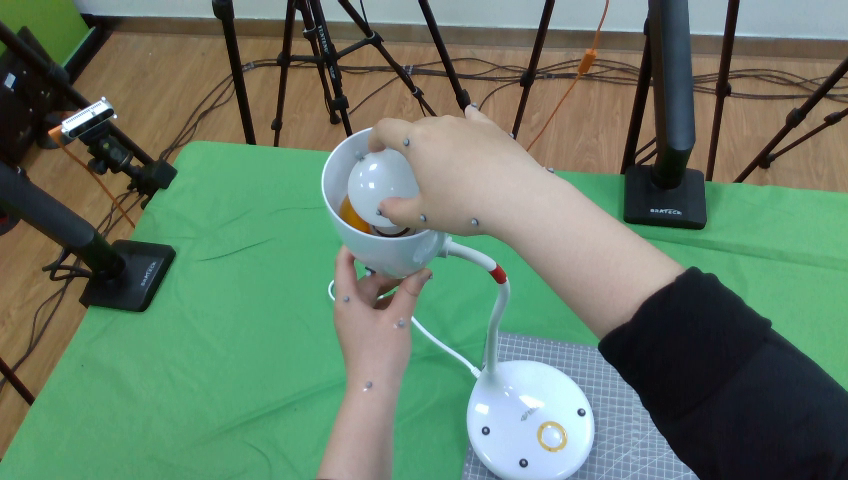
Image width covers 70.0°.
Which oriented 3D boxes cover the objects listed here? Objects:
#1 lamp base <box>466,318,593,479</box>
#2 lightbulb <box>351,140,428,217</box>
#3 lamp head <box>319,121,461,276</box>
[{"bbox_3d":[0.114,0.173,0.716,0.177,0.182,0.160,30,63,28],"label":"lamp base"},{"bbox_3d":[-0.021,-0.044,0.493,0.059,0.108,0.059,-2,82,15],"label":"lightbulb"},{"bbox_3d":[-0.022,-0.021,0.515,0.112,0.124,0.111,-2,58,4],"label":"lamp head"}]
